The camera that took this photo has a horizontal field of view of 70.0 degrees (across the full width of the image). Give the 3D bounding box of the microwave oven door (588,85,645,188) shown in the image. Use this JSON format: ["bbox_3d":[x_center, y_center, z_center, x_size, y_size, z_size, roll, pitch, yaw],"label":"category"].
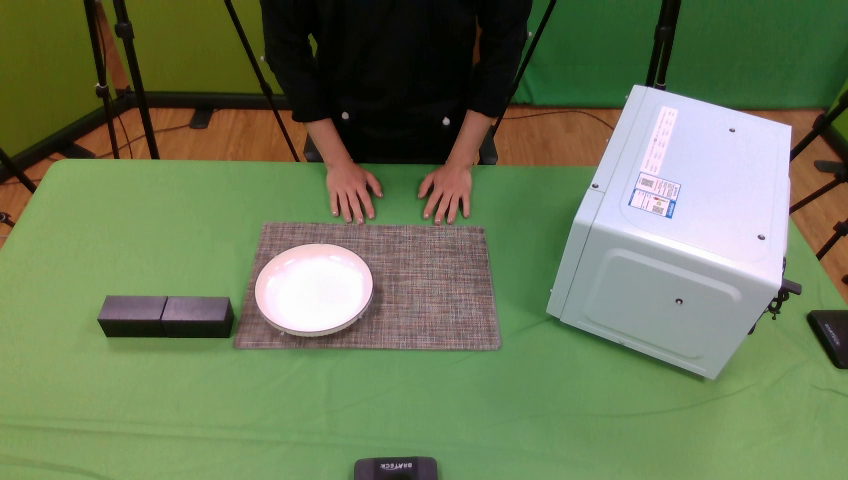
[{"bbox_3d":[0.342,-0.107,1.149,0.039,0.245,0.354,20,48,15],"label":"microwave oven door"}]

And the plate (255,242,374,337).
[{"bbox_3d":[-0.192,0.090,1.079,0.208,0.039,0.206,2,46,-2],"label":"plate"}]

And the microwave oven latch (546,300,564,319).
[{"bbox_3d":[0.242,0.102,1.081,0.030,0.029,0.079,21,48,17],"label":"microwave oven latch"}]

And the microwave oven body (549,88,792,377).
[{"bbox_3d":[0.456,-0.028,1.088,0.325,0.261,0.440,20,47,16],"label":"microwave oven body"}]
